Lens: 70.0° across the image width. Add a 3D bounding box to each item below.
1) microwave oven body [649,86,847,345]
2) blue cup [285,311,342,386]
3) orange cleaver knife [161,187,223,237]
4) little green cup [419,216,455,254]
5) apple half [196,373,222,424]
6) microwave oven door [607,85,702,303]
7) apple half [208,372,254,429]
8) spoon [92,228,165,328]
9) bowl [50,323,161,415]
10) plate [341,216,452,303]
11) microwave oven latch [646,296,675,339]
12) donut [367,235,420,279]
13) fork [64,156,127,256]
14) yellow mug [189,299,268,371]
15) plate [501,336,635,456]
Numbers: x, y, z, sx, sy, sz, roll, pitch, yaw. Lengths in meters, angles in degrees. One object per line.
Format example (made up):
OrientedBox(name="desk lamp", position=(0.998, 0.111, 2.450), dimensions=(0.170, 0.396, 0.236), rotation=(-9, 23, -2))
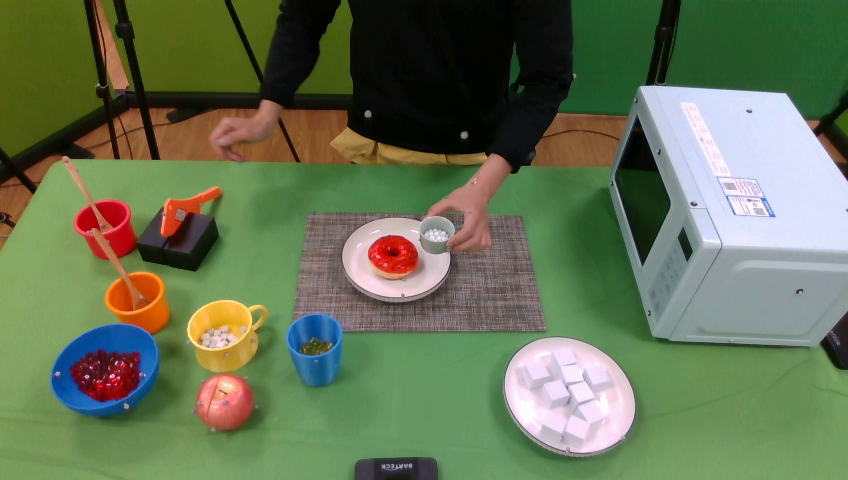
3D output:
OrientedBox(name="microwave oven body", position=(0.568, -0.053, 1.118), dimensions=(0.326, 0.261, 0.439), rotation=(2, 45, -1))
OrientedBox(name="blue cup", position=(-0.170, 0.179, 0.958), dimensions=(0.093, 0.101, 0.092), rotation=(2, 44, -1))
OrientedBox(name="orange cleaver knife", position=(-0.448, -0.058, 1.180), dimensions=(0.012, 0.077, 0.211), rotation=(13, 17, 6))
OrientedBox(name="little green cup", position=(0.020, -0.008, 1.043), dimensions=(0.061, 0.039, 0.061), rotation=(4, 47, -5))
OrientedBox(name="apple half", position=(-0.322, 0.239, 0.906), dimensions=(0.033, 0.081, 0.081), rotation=(7, 46, 0))
OrientedBox(name="microwave oven door", position=(0.423, -0.094, 1.141), dimensions=(0.039, 0.245, 0.353), rotation=(2, 46, -1))
OrientedBox(name="apple half", position=(-0.283, 0.244, 0.908), dimensions=(0.053, 0.075, 0.080), rotation=(7, 42, -1))
OrientedBox(name="spoon", position=(-0.496, 0.063, 1.014), dimensions=(0.041, 0.194, 0.021), rotation=(-33, 12, -30))
OrientedBox(name="bowl", position=(-0.472, 0.209, 0.924), dimensions=(0.151, 0.077, 0.150), rotation=(3, 45, -2))
OrientedBox(name="plate", position=(-0.052, 0.039, 1.140), dimensions=(0.209, 0.038, 0.208), rotation=(2, 46, -2))
OrientedBox(name="microwave oven latch", position=(0.412, 0.134, 1.061), dimensions=(0.030, 0.029, 0.078), rotation=(4, 45, 1))
OrientedBox(name="donut", position=(-0.056, 0.031, 1.131), dimensions=(0.099, 0.048, 0.098), rotation=(3, 45, -3))
OrientedBox(name="fork", position=(-0.614, -0.064, 1.130), dimensions=(0.028, 0.018, 0.207), rotation=(-29, 96, -16))
OrientedBox(name="yellow mug", position=(-0.316, 0.148, 1.001), dimensions=(0.131, 0.064, 0.099), rotation=(-33, 56, -31))
OrientedBox(name="plate", position=(0.225, 0.248, 0.963), dimensions=(0.208, 0.039, 0.206), rotation=(2, 46, -2))
